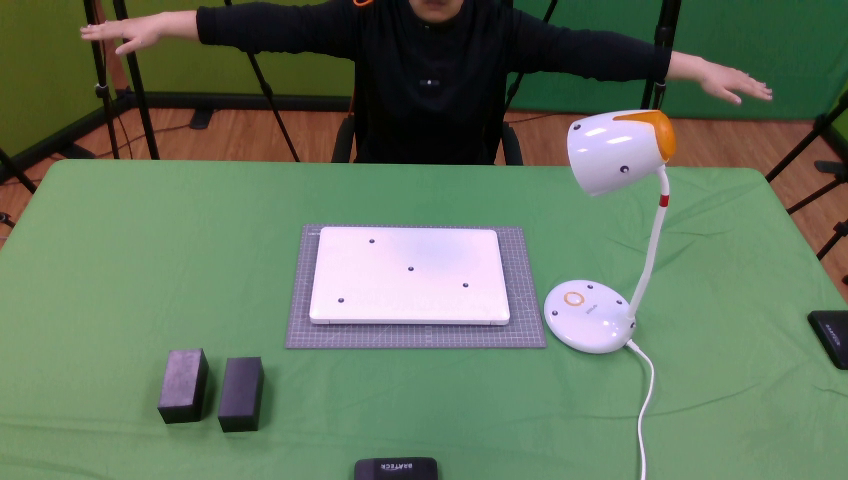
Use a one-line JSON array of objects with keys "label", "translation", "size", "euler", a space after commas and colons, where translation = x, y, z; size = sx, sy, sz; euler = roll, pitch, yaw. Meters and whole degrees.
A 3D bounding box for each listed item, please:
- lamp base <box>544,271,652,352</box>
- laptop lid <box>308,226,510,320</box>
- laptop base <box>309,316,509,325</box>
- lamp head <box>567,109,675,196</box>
[{"label": "lamp base", "translation": [0.309, 0.086, 1.029], "size": [0.178, 0.181, 0.160], "euler": [32, 52, 21]}, {"label": "laptop lid", "translation": [-0.027, 0.056, 1.127], "size": [0.357, 0.013, 0.240], "euler": [2, 44, -3]}, {"label": "laptop base", "translation": [-0.028, 0.066, 1.134], "size": [0.355, 0.023, 0.234], "euler": [1, 43, -4]}, {"label": "lamp head", "translation": [0.272, -0.123, 0.818], "size": [0.122, 0.113, 0.112], "euler": [-9, 35, 37]}]
